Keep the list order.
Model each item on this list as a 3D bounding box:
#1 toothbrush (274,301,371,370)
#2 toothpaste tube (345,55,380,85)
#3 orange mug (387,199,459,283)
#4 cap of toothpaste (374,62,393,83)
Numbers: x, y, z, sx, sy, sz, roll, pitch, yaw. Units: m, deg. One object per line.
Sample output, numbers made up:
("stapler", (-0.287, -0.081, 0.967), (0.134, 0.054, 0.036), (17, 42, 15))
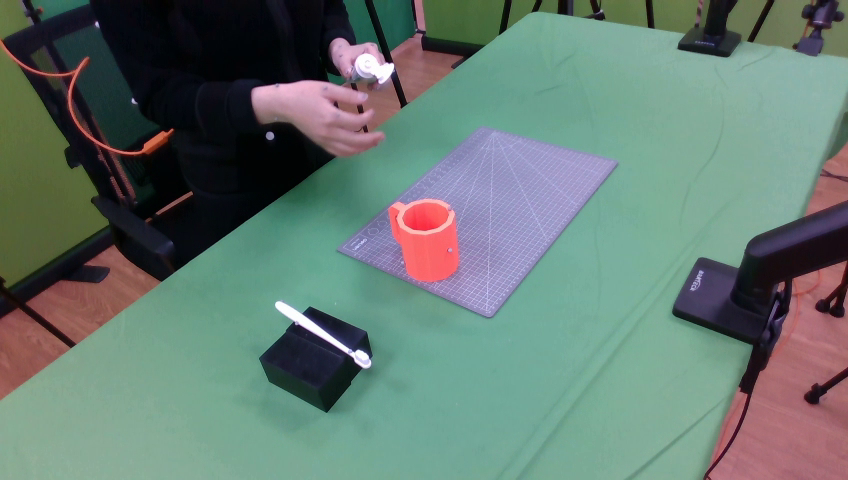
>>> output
("toothbrush", (-0.135, 0.119, 0.783), (0.180, 0.017, 0.014), (25, 53, 33))
("toothpaste tube", (-0.093, -0.263, 0.960), (0.055, 0.034, 0.164), (7, 4, -12))
("orange mug", (-0.006, -0.007, 0.923), (0.125, 0.101, 0.084), (33, 54, 32))
("cap of toothpaste", (-0.059, -0.245, 0.879), (0.037, 0.011, 0.037), (-34, 39, 34))
